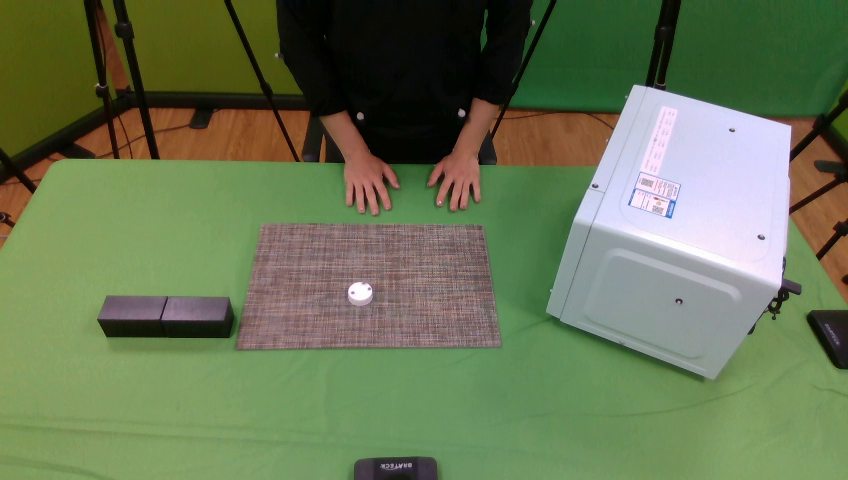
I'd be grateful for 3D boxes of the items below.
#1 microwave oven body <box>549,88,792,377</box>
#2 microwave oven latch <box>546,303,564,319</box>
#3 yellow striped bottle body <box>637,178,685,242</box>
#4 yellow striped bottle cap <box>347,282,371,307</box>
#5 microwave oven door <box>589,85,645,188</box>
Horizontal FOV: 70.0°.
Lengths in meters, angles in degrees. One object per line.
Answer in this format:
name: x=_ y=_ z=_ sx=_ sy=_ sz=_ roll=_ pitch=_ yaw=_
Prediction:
microwave oven body: x=0.456 y=-0.028 z=1.088 sx=0.325 sy=0.261 sz=0.440 roll=20 pitch=47 yaw=16
microwave oven latch: x=0.242 y=0.102 z=1.081 sx=0.030 sy=0.029 sz=0.079 roll=21 pitch=48 yaw=17
yellow striped bottle body: x=0.442 y=-0.058 z=1.126 sx=0.063 sy=0.121 sz=0.062 roll=0 pitch=47 yaw=0
yellow striped bottle cap: x=-0.117 y=0.098 z=1.093 sx=0.044 sy=0.019 sz=0.044 roll=4 pitch=46 yaw=-3
microwave oven door: x=0.341 y=-0.107 z=1.149 sx=0.039 sy=0.245 sz=0.354 roll=20 pitch=48 yaw=15
